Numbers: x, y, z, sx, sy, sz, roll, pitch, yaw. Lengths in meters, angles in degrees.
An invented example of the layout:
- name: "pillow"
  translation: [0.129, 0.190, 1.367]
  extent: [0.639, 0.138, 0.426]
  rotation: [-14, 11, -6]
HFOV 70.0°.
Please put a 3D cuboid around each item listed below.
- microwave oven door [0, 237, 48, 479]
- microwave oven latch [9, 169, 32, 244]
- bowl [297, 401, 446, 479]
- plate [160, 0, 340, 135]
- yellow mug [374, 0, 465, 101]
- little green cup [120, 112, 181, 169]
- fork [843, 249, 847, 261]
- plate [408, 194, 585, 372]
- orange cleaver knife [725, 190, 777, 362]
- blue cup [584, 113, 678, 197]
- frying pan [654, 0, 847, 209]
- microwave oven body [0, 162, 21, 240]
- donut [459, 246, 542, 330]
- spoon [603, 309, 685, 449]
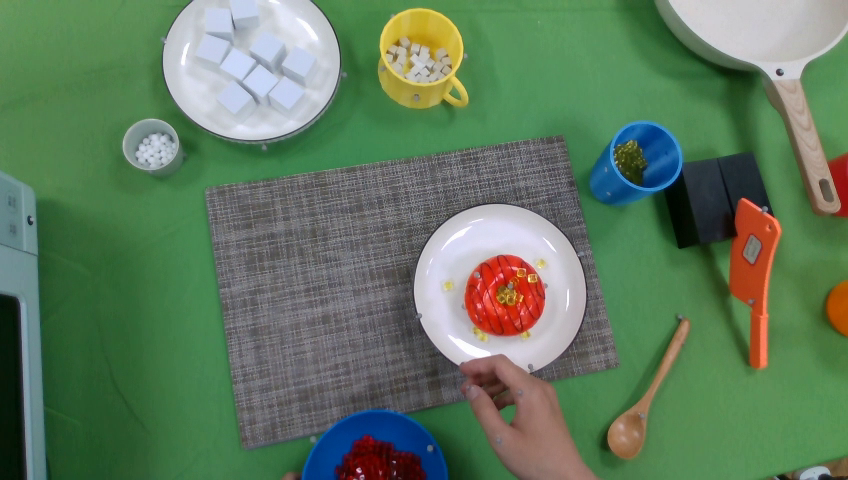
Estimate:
- name: "microwave oven door"
  translation: [-0.404, 0.162, 0.521]
  extent: [0.039, 0.244, 0.354]
  rotation: [-7, 81, -7]
- name: "microwave oven latch"
  translation: [-0.444, -0.035, 0.653]
  extent: [0.030, 0.029, 0.079]
  rotation: [-6, 82, -8]
- name: "bowl"
  translation: [-0.056, 0.246, 0.651]
  extent: [0.151, 0.077, 0.151]
  rotation: [1, 80, -6]
- name: "plate"
  translation: [-0.206, -0.223, 0.733]
  extent: [0.208, 0.039, 0.207]
  rotation: [1, 80, -6]
- name: "yellow mug"
  translation: [0.002, -0.220, 0.743]
  extent: [0.131, 0.064, 0.100]
  rotation: [42, 78, 1]
- name: "little green cup"
  translation: [-0.312, -0.112, 0.699]
  extent: [0.062, 0.038, 0.061]
  rotation: [1, 81, -8]
- name: "fork"
  translation: [0.520, 0.050, 0.717]
  extent: [0.209, 0.018, 0.028]
  rotation: [31, 74, -45]
- name: "plate"
  translation: [0.084, 0.050, 0.717]
  extent: [0.209, 0.038, 0.208]
  rotation: [1, 81, -7]
- name: "orange cleaver knife"
  translation: [0.393, 0.045, 0.737]
  extent: [0.012, 0.076, 0.212]
  rotation: [-11, 110, -8]
- name: "blue cup"
  translation: [0.241, -0.094, 0.732]
  extent: [0.093, 0.100, 0.092]
  rotation: [2, 78, -7]
- name: "frying pan"
  translation: [0.442, -0.269, 0.785]
  extent: [0.307, 0.103, 0.484]
  rotation: [-5, 73, -7]
- name: "microwave oven body"
  translation: [-0.555, 0.138, 0.512]
  extent: [0.326, 0.260, 0.440]
  rotation: [-7, 82, -8]
- name: "donut"
  translation: [0.089, 0.057, 0.706]
  extent: [0.099, 0.048, 0.099]
  rotation: [1, 84, -6]
- name: "spoon"
  translation: [0.273, 0.165, 0.733]
  extent: [0.041, 0.022, 0.193]
  rotation: [30, 78, 17]
